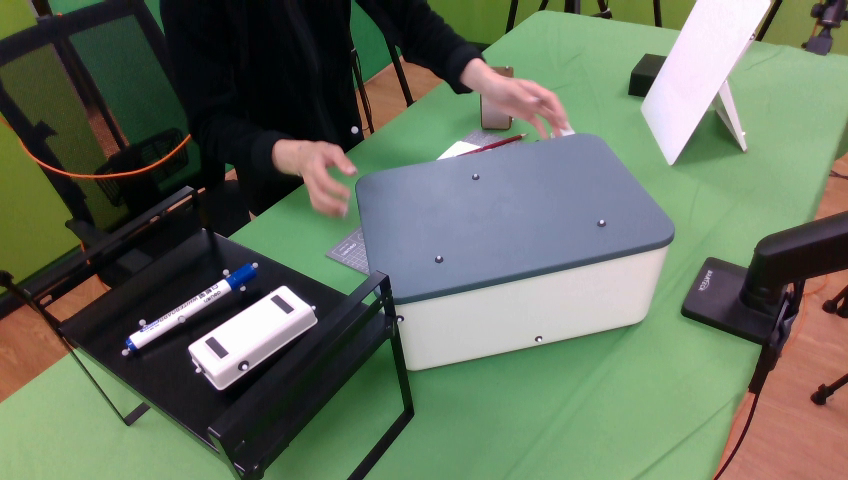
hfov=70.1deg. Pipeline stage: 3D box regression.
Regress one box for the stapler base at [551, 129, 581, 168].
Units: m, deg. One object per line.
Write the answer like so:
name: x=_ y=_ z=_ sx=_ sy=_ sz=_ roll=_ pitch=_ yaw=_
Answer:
stapler base: x=0.268 y=-0.178 z=1.142 sx=0.041 sy=0.024 sz=0.130 roll=1 pitch=37 yaw=2

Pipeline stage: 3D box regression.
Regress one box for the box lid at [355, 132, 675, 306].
box lid: x=0.103 y=-0.042 z=0.785 sx=0.372 sy=0.015 sz=0.261 roll=-12 pitch=41 yaw=-5

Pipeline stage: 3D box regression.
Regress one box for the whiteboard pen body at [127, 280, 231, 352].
whiteboard pen body: x=-0.248 y=0.072 z=0.645 sx=0.141 sy=0.017 sz=0.017 roll=-35 pitch=47 yaw=-23

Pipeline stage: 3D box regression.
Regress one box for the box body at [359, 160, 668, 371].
box body: x=0.108 y=0.014 z=0.833 sx=0.365 sy=0.161 sz=0.252 roll=-11 pitch=41 yaw=-5

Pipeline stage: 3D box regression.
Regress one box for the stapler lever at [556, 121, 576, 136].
stapler lever: x=0.267 y=-0.199 z=1.128 sx=0.027 sy=0.040 sz=0.117 roll=1 pitch=38 yaw=3

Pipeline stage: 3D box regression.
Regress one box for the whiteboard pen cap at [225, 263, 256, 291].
whiteboard pen cap: x=-0.204 y=0.041 z=0.668 sx=0.033 sy=0.018 sz=0.018 roll=-36 pitch=48 yaw=-22

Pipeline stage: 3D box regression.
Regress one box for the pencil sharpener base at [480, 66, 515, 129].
pencil sharpener base: x=0.151 y=-0.290 z=1.228 sx=0.061 sy=0.107 sz=0.076 roll=3 pitch=41 yaw=13

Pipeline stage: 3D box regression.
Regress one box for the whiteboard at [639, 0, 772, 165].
whiteboard: x=0.543 y=-0.298 z=1.076 sx=0.144 sy=0.305 sz=0.216 roll=12 pitch=40 yaw=-7

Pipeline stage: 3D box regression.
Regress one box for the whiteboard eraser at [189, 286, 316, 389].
whiteboard eraser: x=-0.166 y=0.096 z=0.593 sx=0.113 sy=0.042 sz=0.055 roll=-36 pitch=47 yaw=-29

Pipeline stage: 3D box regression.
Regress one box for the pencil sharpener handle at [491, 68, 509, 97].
pencil sharpener handle: x=0.156 y=-0.333 z=1.258 sx=0.036 sy=0.068 sz=0.030 roll=14 pitch=43 yaw=3

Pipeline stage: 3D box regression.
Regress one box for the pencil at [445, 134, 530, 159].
pencil: x=0.123 y=-0.180 z=1.175 sx=0.195 sy=0.012 sz=0.012 roll=-20 pitch=42 yaw=-17
